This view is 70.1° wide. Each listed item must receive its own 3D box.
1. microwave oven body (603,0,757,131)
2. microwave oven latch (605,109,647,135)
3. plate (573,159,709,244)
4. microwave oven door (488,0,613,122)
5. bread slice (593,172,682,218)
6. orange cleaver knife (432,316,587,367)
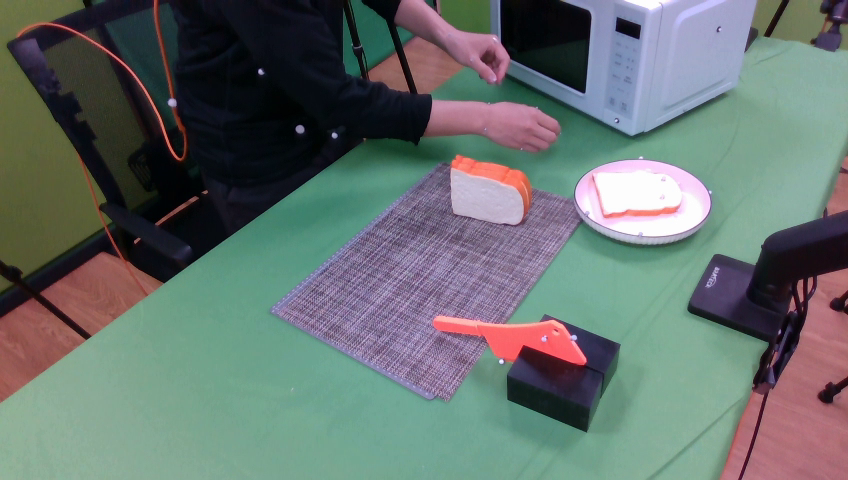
[{"bbox_3d":[0.396,-0.448,1.248,0.327,0.261,0.437,-27,44,-21],"label":"microwave oven body"},{"bbox_3d":[0.379,-0.225,1.139,0.030,0.029,0.078,-26,43,-20],"label":"microwave oven latch"},{"bbox_3d":[0.347,-0.059,0.978,0.207,0.039,0.206,-4,41,4],"label":"plate"},{"bbox_3d":[0.250,-0.412,1.219,0.039,0.245,0.352,-27,44,-21],"label":"microwave oven door"},{"bbox_3d":[0.351,-0.076,0.995,0.134,0.018,0.106,-4,44,1],"label":"bread slice"},{"bbox_3d":[0.101,0.127,0.761,0.210,0.077,0.012,-1,34,40],"label":"orange cleaver knife"}]
